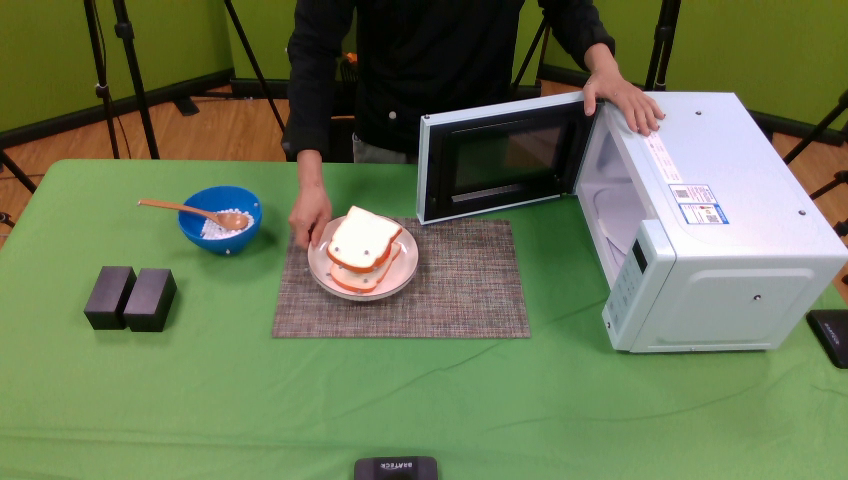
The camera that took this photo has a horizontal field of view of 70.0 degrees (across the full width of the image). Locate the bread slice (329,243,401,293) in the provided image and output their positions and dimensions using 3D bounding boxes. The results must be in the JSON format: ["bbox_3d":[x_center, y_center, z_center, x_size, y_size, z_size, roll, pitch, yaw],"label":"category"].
[{"bbox_3d":[-0.113,0.042,1.126,0.107,0.018,0.133,15,47,8],"label":"bread slice"}]

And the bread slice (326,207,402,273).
[{"bbox_3d":[-0.111,0.002,1.085,0.105,0.019,0.131,23,51,7],"label":"bread slice"}]

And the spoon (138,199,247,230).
[{"bbox_3d":[-0.431,-0.053,1.135,0.194,0.022,0.041,15,47,-20],"label":"spoon"}]

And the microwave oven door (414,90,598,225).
[{"bbox_3d":[0.158,-0.161,1.195,0.356,0.245,0.039,-12,48,-16],"label":"microwave oven door"}]

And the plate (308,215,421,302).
[{"bbox_3d":[-0.110,0.036,1.131,0.208,0.039,0.206,3,47,-3],"label":"plate"}]

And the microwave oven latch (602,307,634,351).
[{"bbox_3d":[0.332,0.153,1.044,0.030,0.029,0.078,0,45,-4],"label":"microwave oven latch"}]

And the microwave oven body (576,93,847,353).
[{"bbox_3d":[0.475,-0.041,1.109,0.326,0.261,0.438,-1,45,-4],"label":"microwave oven body"}]

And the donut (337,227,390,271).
[{"bbox_3d":[-0.110,0.016,1.112,0.099,0.048,0.098,3,45,-3],"label":"donut"}]

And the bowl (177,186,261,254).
[{"bbox_3d":[-0.383,-0.026,1.158,0.151,0.077,0.150,2,46,-2],"label":"bowl"}]
